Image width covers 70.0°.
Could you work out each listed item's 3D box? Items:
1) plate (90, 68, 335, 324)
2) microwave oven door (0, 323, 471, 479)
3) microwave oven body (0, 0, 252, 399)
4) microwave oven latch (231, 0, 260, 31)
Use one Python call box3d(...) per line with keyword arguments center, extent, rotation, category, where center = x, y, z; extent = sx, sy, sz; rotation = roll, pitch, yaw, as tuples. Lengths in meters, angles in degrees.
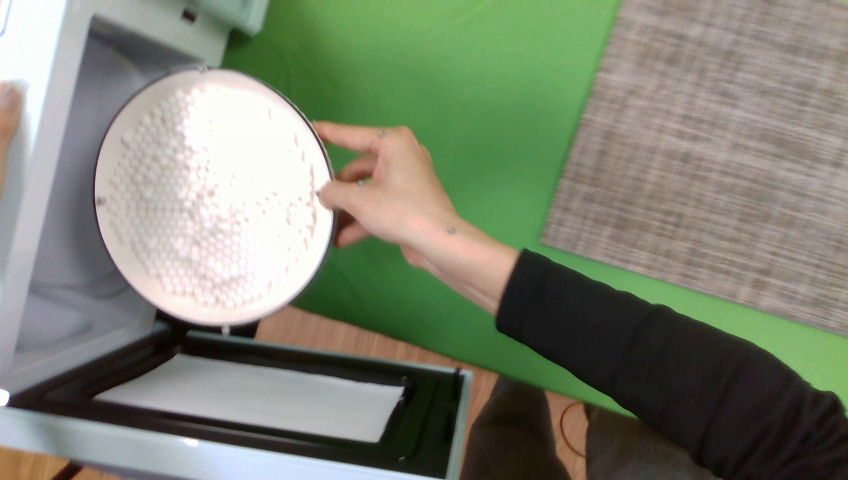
box3d(center=(-0.173, -0.035, 0.510), extent=(0.209, 0.038, 0.209), rotation=(1, 98, 6), category="plate")
box3d(center=(-0.140, 0.144, 0.544), extent=(0.355, 0.243, 0.039), rotation=(7, 96, 5), category="microwave oven door")
box3d(center=(-0.381, -0.122, 0.545), extent=(0.326, 0.260, 0.442), rotation=(18, 98, 4), category="microwave oven body")
box3d(center=(-0.178, -0.254, 0.607), extent=(0.030, 0.029, 0.079), rotation=(20, 98, 3), category="microwave oven latch")
